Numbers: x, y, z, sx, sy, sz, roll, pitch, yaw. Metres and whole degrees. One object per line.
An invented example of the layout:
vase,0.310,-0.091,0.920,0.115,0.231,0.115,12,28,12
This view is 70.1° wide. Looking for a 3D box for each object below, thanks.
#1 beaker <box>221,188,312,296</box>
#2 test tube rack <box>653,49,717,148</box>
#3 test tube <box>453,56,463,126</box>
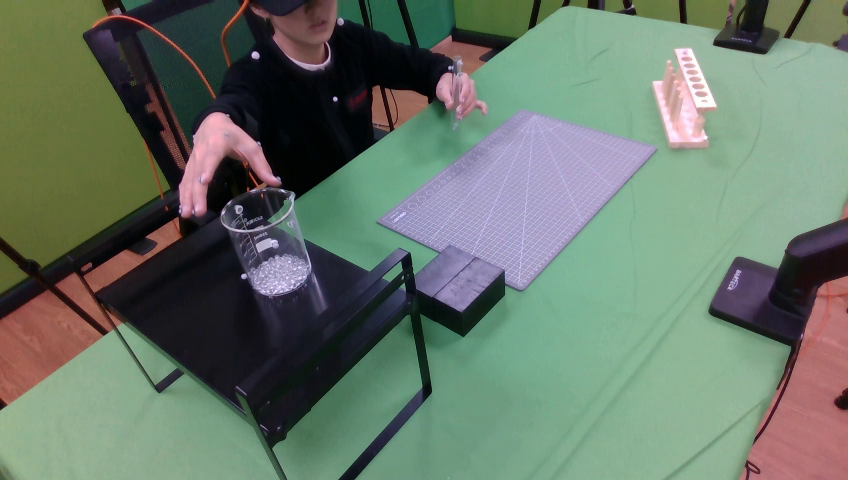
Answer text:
beaker,-0.165,0.003,0.659,0.073,0.101,0.084,28,51,34
test tube rack,0.502,-0.281,1.177,0.066,0.085,0.241,1,41,10
test tube,0.061,-0.267,1.098,0.017,0.151,0.017,0,52,1
